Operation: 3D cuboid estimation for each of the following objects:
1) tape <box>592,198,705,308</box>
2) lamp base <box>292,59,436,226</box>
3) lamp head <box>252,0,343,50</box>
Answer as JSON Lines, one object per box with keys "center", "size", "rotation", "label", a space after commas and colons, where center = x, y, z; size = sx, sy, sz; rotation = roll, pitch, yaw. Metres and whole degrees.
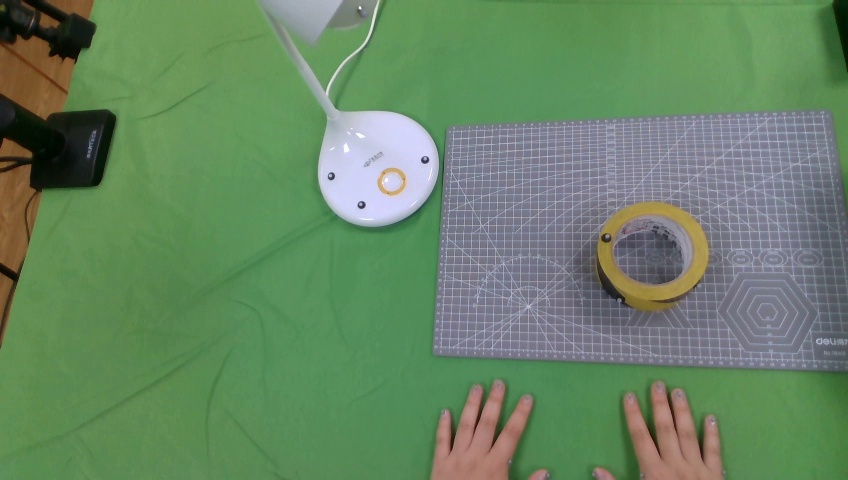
{"center": [0.242, 0.014, 0.662], "size": [0.116, 0.053, 0.116], "rotation": [-3, 71, 10], "label": "tape"}
{"center": [-0.089, -0.124, 0.714], "size": [0.178, 0.182, 0.160], "rotation": [40, 83, 24], "label": "lamp base"}
{"center": [-0.100, -0.214, 0.428], "size": [0.123, 0.112, 0.112], "rotation": [32, 79, -14], "label": "lamp head"}
